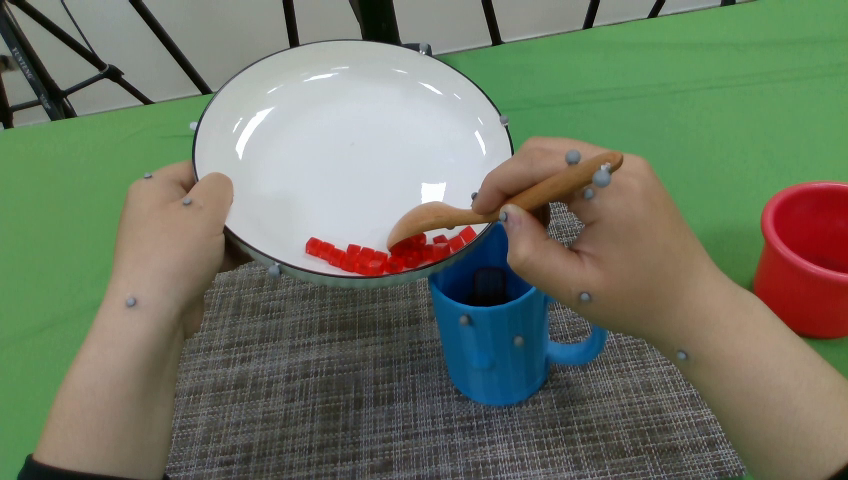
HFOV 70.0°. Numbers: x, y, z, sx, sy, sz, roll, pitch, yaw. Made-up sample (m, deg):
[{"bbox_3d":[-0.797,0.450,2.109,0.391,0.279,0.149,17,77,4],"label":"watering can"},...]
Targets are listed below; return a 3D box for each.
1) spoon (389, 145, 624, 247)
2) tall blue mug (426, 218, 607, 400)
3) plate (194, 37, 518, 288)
[{"bbox_3d":[0.030,-0.018,0.303,0.041,0.022,0.193,-36,12,-27],"label":"spoon"},{"bbox_3d":[0.061,0.046,0.415,0.107,0.109,0.077,-14,44,-1],"label":"tall blue mug"},{"bbox_3d":[-0.042,-0.055,0.409,0.208,0.039,0.205,3,56,-5],"label":"plate"}]
